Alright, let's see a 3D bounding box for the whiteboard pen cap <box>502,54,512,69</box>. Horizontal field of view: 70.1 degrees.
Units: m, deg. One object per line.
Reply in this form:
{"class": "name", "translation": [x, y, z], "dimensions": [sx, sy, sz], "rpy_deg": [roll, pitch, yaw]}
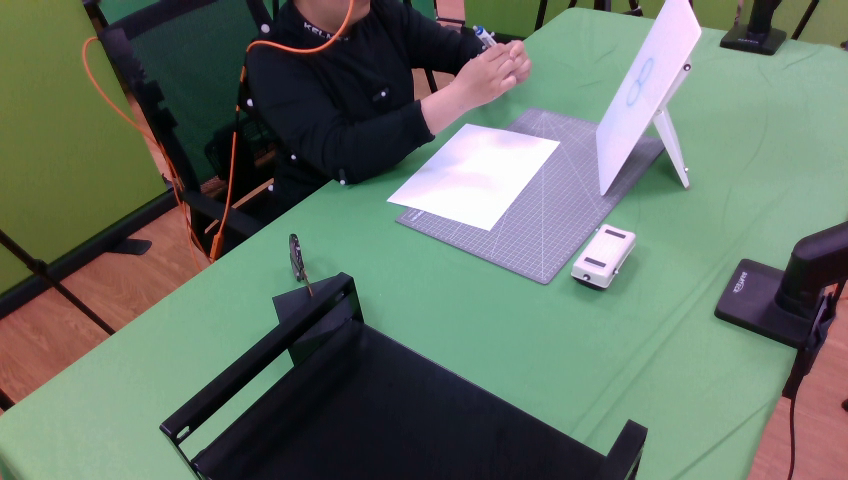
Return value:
{"class": "whiteboard pen cap", "translation": [0.153, -0.334, 1.127], "dimensions": [0.018, 0.033, 0.018], "rpy_deg": [-4, 77, 20]}

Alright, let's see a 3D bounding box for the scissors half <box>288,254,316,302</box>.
{"class": "scissors half", "translation": [-0.178, 0.058, 0.894], "dimensions": [0.013, 0.040, 0.174], "rpy_deg": [-16, 21, -17]}

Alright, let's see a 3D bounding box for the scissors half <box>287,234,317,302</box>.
{"class": "scissors half", "translation": [-0.179, 0.040, 0.885], "dimensions": [0.013, 0.040, 0.173], "rpy_deg": [-11, 36, -20]}

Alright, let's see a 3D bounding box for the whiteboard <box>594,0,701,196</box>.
{"class": "whiteboard", "translation": [0.420, -0.227, 1.010], "dimensions": [0.144, 0.305, 0.216], "rpy_deg": [18, 42, -2]}

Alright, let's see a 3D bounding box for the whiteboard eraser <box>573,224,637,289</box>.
{"class": "whiteboard eraser", "translation": [0.267, 0.025, 0.891], "dimensions": [0.055, 0.042, 0.113], "rpy_deg": [19, 47, 31]}

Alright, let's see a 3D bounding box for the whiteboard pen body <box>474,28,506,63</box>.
{"class": "whiteboard pen body", "translation": [0.124, -0.341, 1.076], "dimensions": [0.017, 0.142, 0.017], "rpy_deg": [-5, 80, 28]}
